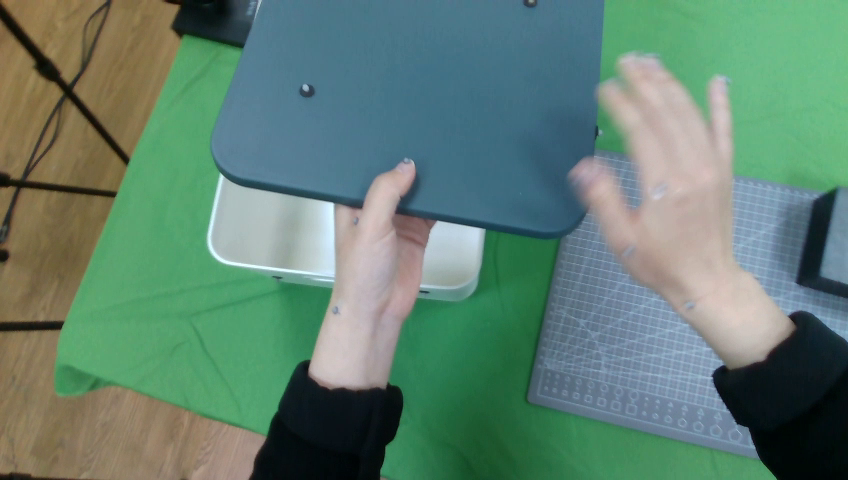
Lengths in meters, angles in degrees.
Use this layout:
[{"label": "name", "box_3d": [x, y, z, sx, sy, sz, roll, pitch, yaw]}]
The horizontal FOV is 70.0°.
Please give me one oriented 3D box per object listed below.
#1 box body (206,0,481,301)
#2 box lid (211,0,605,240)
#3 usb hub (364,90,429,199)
[{"label": "box body", "box_3d": [-0.051, -0.124, 0.653, 0.254, 0.161, 0.362, 6, 78, 6]}, {"label": "box lid", "box_3d": [0.009, -0.180, 0.475, 0.263, 0.015, 0.369, 10, 66, 1]}, {"label": "usb hub", "box_3d": [-0.031, -0.113, 0.711, 0.049, 0.025, 0.124, 11, 78, 9]}]
